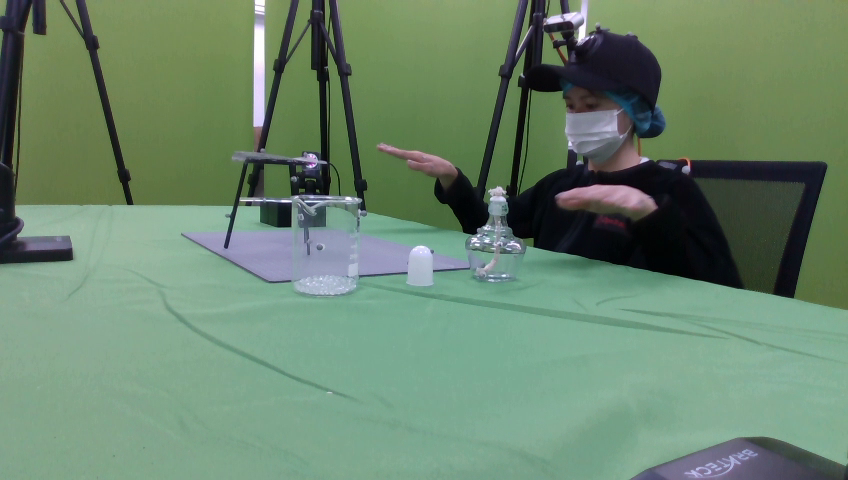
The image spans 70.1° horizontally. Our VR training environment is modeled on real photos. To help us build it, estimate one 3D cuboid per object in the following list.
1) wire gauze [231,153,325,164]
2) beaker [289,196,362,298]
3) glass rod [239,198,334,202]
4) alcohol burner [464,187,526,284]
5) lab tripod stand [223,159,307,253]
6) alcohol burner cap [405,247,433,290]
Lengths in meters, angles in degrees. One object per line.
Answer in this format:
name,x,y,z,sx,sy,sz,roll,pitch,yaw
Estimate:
wire gauze,-0.215,-0.118,0.881,0.125,0.011,0.121,0,7,-19
beaker,-0.104,0.006,0.627,0.074,0.100,0.084,4,8,11
glass rod,-0.277,-0.081,1.232,0.201,0.008,0.008,-1,8,-30
alcohol burner,0.089,-0.007,0.747,0.078,0.119,0.078,4,9,0
lab tripod stand,-0.220,-0.053,0.896,0.148,0.131,0.148,1,6,0
alcohol burner cap,-0.005,0.031,0.698,0.034,0.048,0.034,3,8,0
